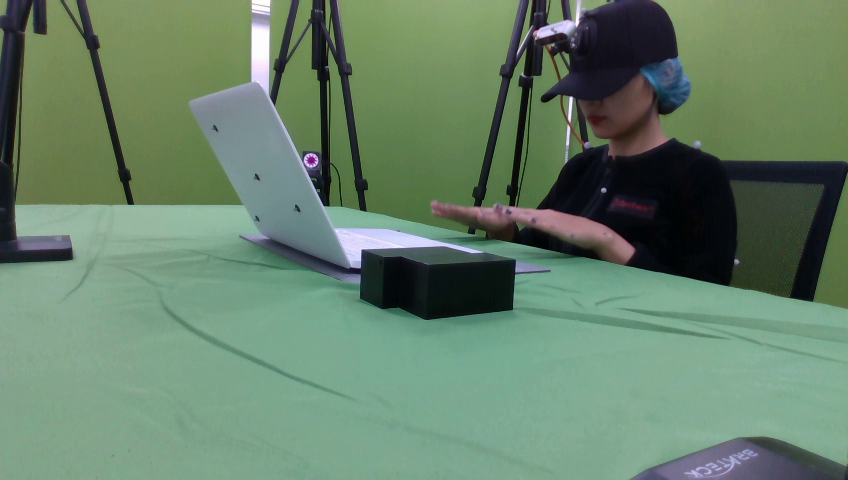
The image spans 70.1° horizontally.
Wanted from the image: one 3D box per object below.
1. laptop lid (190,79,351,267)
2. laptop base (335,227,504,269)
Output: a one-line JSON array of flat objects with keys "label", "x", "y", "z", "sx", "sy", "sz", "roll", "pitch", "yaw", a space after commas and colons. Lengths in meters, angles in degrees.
[{"label": "laptop lid", "x": -0.220, "y": -0.087, "z": 0.809, "sx": 0.013, "sy": 0.242, "sz": 0.355, "roll": -34, "pitch": 25, "yaw": -24}, {"label": "laptop base", "x": -0.077, "y": 0.009, "z": 0.914, "sx": 0.237, "sy": 0.023, "sz": 0.352, "roll": 1, "pitch": 7, "yaw": -33}]
